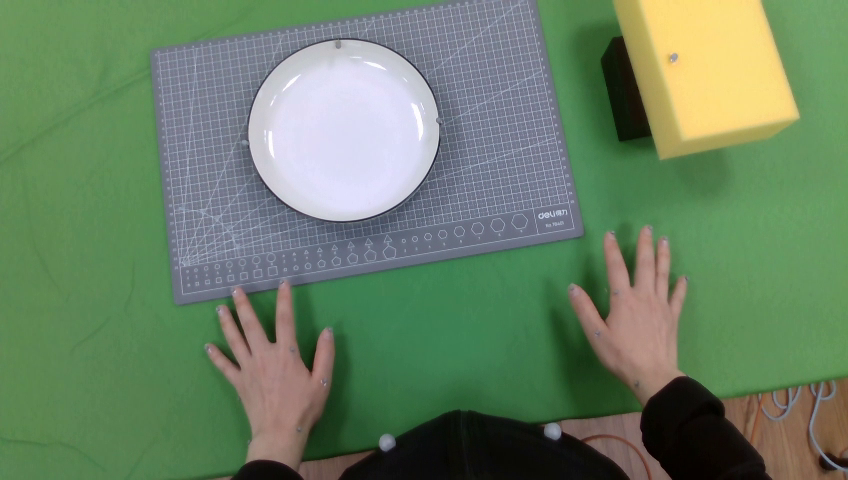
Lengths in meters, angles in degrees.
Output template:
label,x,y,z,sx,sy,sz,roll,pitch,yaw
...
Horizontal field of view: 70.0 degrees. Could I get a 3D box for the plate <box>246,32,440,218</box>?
label,x,y,z,sx,sy,sz,roll,pitch,yaw
plate,-0.086,-0.123,0.663,0.209,0.038,0.208,0,81,0

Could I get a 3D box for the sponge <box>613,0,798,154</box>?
label,x,y,z,sx,sy,sz,roll,pitch,yaw
sponge,0.276,-0.203,0.613,0.118,0.061,0.206,-13,81,-2
